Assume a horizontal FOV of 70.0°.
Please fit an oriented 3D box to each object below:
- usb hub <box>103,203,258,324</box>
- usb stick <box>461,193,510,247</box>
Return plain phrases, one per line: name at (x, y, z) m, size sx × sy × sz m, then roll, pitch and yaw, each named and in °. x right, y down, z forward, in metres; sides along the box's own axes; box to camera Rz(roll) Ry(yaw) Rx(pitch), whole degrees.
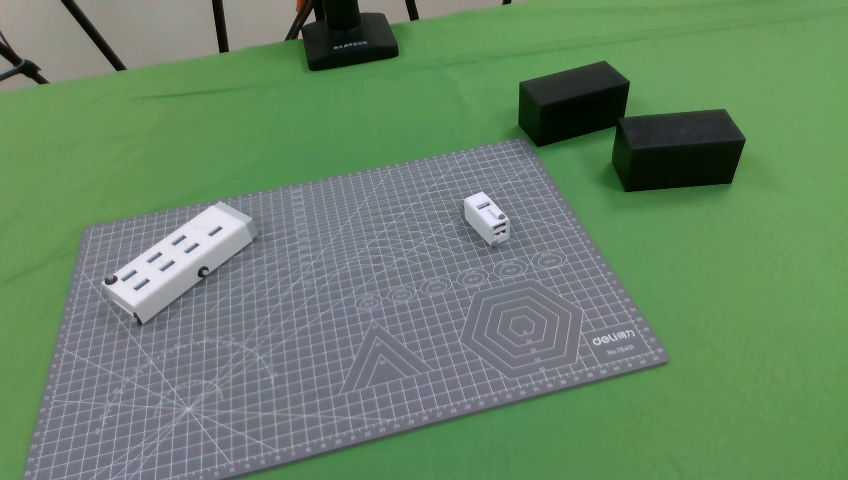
usb hub at (-0.209, 0.016, 0.529) m, size 0.049 × 0.025 × 0.125 m, roll 25°, pitch 51°, yaw 29°
usb stick at (0.052, -0.022, 0.541) m, size 0.021 × 0.027 × 0.058 m, roll -26°, pitch 44°, yaw -15°
